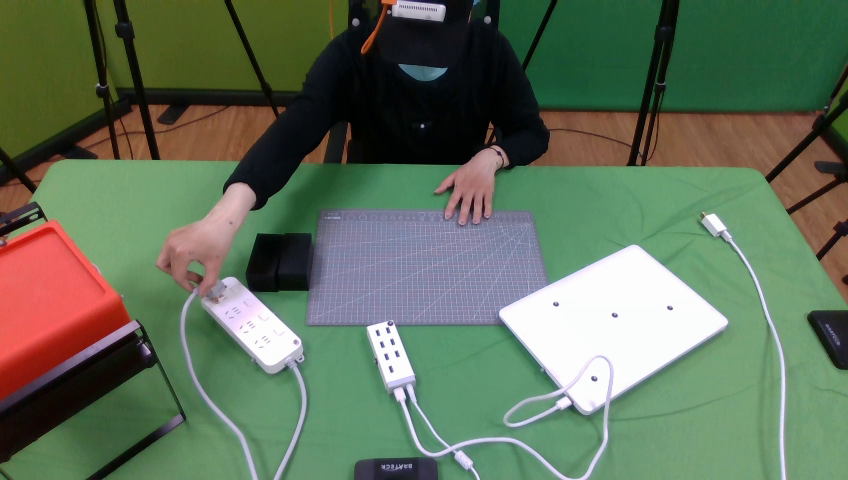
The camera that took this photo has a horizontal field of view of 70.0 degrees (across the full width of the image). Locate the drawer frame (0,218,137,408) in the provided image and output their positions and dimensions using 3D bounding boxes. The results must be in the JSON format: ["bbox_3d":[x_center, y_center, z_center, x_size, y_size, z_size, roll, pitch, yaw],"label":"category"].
[{"bbox_3d":[-0.523,0.094,0.779,0.200,0.083,0.213,37,55,26],"label":"drawer frame"}]

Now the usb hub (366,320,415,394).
[{"bbox_3d":[-0.056,0.192,1.009,0.049,0.025,0.124,-12,49,-16],"label":"usb hub"}]

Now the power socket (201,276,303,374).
[{"bbox_3d":[-0.296,0.141,1.034,0.225,0.033,0.072,37,55,27],"label":"power socket"}]

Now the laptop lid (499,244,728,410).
[{"bbox_3d":[0.338,0.136,1.080,0.357,0.013,0.240,-21,50,-23],"label":"laptop lid"}]

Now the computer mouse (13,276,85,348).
[{"bbox_3d":[-0.497,0.090,0.804,0.063,0.041,0.116,-7,42,-7],"label":"computer mouse"}]

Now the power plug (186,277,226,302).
[{"bbox_3d":[-0.370,0.090,1.024,0.035,0.053,0.072,29,49,36],"label":"power plug"}]

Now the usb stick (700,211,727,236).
[{"bbox_3d":[0.605,-0.038,1.273,0.027,0.021,0.059,-18,56,-20],"label":"usb stick"}]

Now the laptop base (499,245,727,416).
[{"bbox_3d":[0.339,0.146,1.088,0.354,0.023,0.234,-23,49,-24],"label":"laptop base"}]

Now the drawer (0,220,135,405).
[{"bbox_3d":[-0.522,0.093,0.782,0.193,0.073,0.211,38,55,27],"label":"drawer"}]
